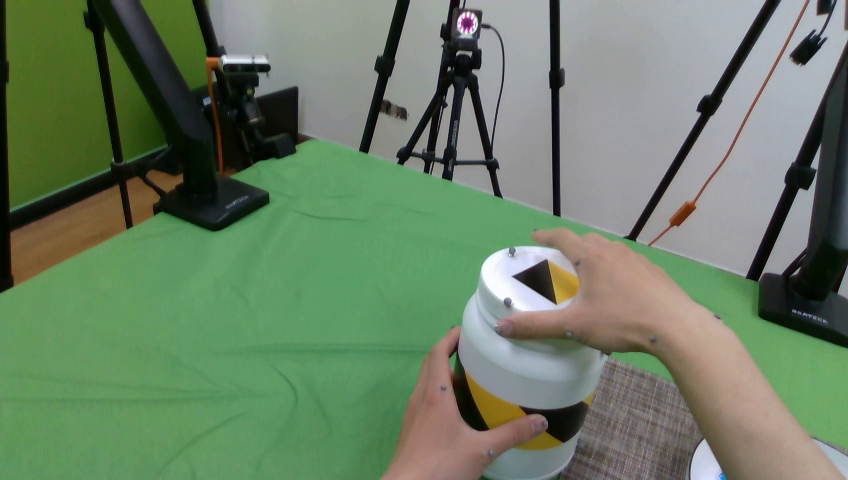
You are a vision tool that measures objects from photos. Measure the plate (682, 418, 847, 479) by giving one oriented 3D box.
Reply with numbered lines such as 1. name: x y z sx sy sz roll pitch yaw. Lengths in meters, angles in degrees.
1. plate: 0.329 0.248 0.530 0.208 0.039 0.206 6 32 -3

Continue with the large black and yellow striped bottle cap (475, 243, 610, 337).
1. large black and yellow striped bottle cap: 0.100 0.039 0.515 0.115 0.019 0.114 10 31 -6

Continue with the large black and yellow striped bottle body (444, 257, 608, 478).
1. large black and yellow striped bottle body: 0.093 0.113 0.561 0.131 0.185 0.129 5 33 -3
